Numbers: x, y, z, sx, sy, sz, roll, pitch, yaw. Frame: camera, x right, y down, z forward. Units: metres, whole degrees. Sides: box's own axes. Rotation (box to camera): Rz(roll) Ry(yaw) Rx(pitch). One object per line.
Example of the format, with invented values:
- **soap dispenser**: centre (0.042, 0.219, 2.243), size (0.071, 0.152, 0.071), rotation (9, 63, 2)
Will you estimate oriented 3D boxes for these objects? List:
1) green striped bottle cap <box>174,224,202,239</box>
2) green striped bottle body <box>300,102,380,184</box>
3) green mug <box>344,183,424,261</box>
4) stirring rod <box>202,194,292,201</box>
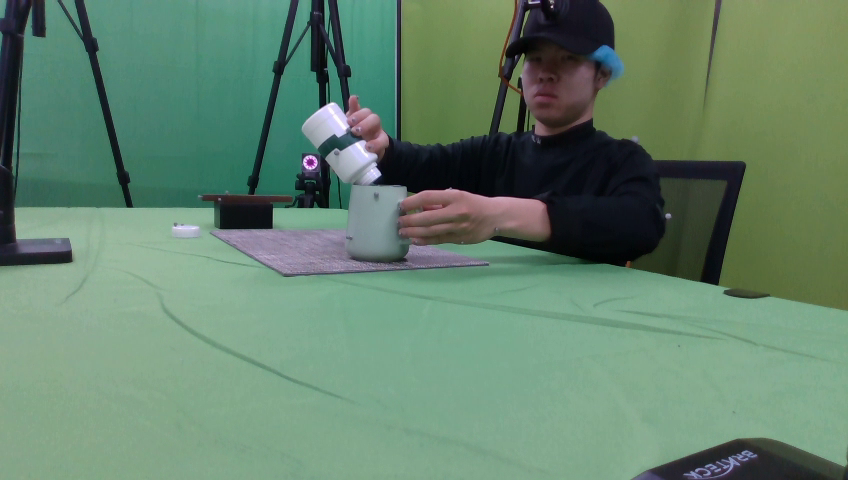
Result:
- **green striped bottle cap**: centre (-0.404, -0.015, 1.036), size (0.044, 0.020, 0.044), rotation (-1, 9, 1)
- **green striped bottle body**: centre (-0.114, -0.129, 0.854), size (0.063, 0.119, 0.063), rotation (-38, 5, 5)
- **green mug**: centre (-0.053, -0.025, 0.849), size (0.125, 0.105, 0.093), rotation (7, 8, 33)
- **stirring rod**: centre (-0.353, -0.086, 1.216), size (0.177, 0.014, 0.006), rotation (-1, 13, -27)
